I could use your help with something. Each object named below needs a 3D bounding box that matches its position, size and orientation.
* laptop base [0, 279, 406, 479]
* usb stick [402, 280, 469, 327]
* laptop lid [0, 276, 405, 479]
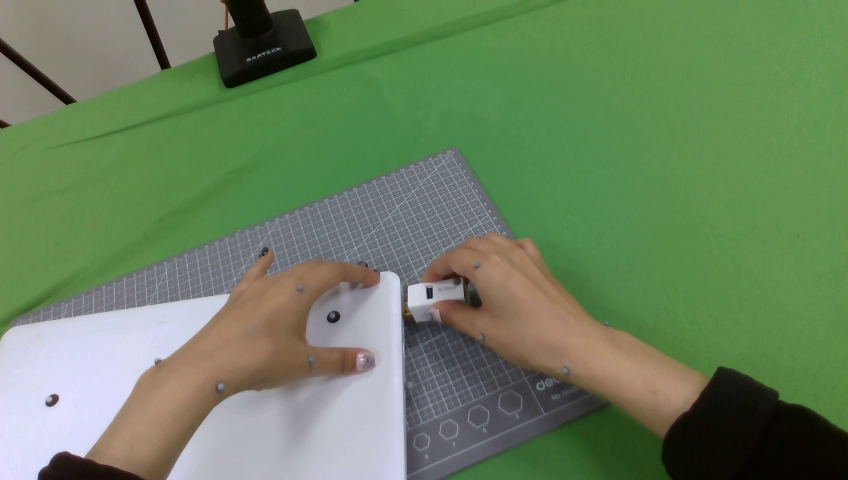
[{"bbox_3d":[-0.185,0.151,0.449,0.354,0.023,0.233,-9,54,6],"label":"laptop base"},{"bbox_3d":[0.004,0.050,0.466,0.059,0.027,0.021,-14,50,14],"label":"usb stick"},{"bbox_3d":[-0.187,0.145,0.438,0.356,0.013,0.239,-7,53,7],"label":"laptop lid"}]
